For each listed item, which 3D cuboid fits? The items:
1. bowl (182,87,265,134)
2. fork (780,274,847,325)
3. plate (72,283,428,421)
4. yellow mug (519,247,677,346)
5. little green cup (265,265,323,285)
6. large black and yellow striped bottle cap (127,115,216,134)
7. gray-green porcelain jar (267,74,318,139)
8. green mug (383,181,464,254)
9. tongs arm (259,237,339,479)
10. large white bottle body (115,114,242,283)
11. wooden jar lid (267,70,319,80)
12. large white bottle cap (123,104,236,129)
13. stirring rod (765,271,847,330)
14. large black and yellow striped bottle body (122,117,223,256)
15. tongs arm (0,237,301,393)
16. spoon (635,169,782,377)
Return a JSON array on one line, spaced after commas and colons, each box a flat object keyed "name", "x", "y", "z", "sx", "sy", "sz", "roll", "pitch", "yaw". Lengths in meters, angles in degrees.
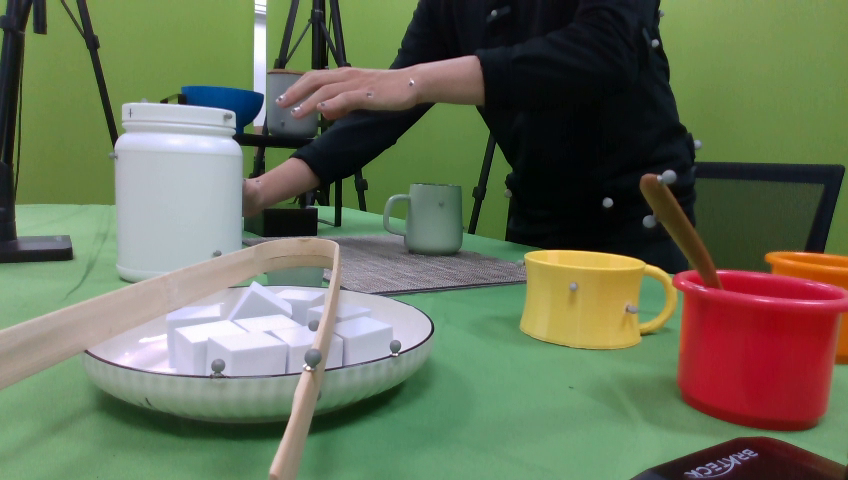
[{"name": "bowl", "x": -0.383, "y": -0.244, "z": 1.158, "sx": 0.151, "sy": 0.077, "sz": 0.151, "roll": 2, "pitch": 7, "yaw": 0}, {"name": "fork", "x": 0.332, "y": 0.018, "z": 0.443, "sx": 0.028, "sy": 0.018, "sz": 0.207, "roll": -3, "pitch": -35, "yaw": -16}, {"name": "plate", "x": -0.102, "y": 0.066, "z": 0.381, "sx": 0.208, "sy": 0.039, "sz": 0.207, "roll": 2, "pitch": 7, "yaw": 0}, {"name": "yellow mug", "x": 0.148, "y": 0.045, "z": 0.513, "sx": 0.131, "sy": 0.064, "sz": 0.100, "roll": 3, "pitch": 7, "yaw": 0}, {"name": "little green cup", "x": -0.134, "y": 0.034, "z": 0.628, "sx": 0.061, "sy": 0.038, "sz": 0.061, "roll": 3, "pitch": 6, "yaw": 0}, {"name": "large black and yellow striped bottle cap", "x": -0.349, "y": -0.160, "z": 0.839, "sx": 0.115, "sy": 0.019, "sz": 0.115, "roll": 2, "pitch": 6, "yaw": 0}, {"name": "gray-green porcelain jar", "x": -0.277, "y": -0.279, "z": 1.280, "sx": 0.106, "sy": 0.126, "sz": 0.106, "roll": 1, "pitch": 8, "yaw": 0}, {"name": "green mug", "x": 0.000, "y": -0.036, "z": 0.922, "sx": 0.126, "sy": 0.105, "sz": 0.092, "roll": 0, "pitch": 8, "yaw": -16}, {"name": "tongs arm", "x": -0.074, "y": 0.040, "z": 0.345, "sx": 0.051, "sy": 0.026, "sz": 0.384, "roll": -2, "pitch": 9, "yaw": -3}, {"name": "large white bottle body", "x": -0.270, "y": -0.051, "z": 0.674, "sx": 0.131, "sy": 0.184, "sz": 0.130, "roll": 2, "pitch": 8, "yaw": 0}, {"name": "wooden jar lid", "x": -0.275, "y": -0.339, "z": 1.271, "sx": 0.108, "sy": 0.020, "sz": 0.108, "roll": 5, "pitch": 6, "yaw": 0}, {"name": "large white bottle cap", "x": -0.266, "y": -0.134, "z": 0.663, "sx": 0.115, "sy": 0.018, "sz": 0.115, "roll": 3, "pitch": 7, "yaw": 0}, {"name": "stirring rod", "x": 0.352, "y": 0.020, "z": 0.481, "sx": 0.176, "sy": 0.006, "sz": 0.014, "roll": -40, "pitch": -7, "yaw": 17}, {"name": "large black and yellow striped bottle body", "x": -0.352, "y": -0.077, "z": 0.852, "sx": 0.131, "sy": 0.184, "sz": 0.130, "roll": 3, "pitch": 8, "yaw": 0}, {"name": "tongs arm", "x": -0.158, "y": 0.039, "z": 0.347, "sx": 0.028, "sy": 0.028, "sz": 0.388, "roll": -3, "pitch": 8, "yaw": 11}, {"name": "spoon", "x": 0.161, "y": 0.026, "z": 0.346, "sx": 0.021, "sy": 0.194, "sz": 0.041, "roll": -51, "pitch": 32, "yaw": -19}]
